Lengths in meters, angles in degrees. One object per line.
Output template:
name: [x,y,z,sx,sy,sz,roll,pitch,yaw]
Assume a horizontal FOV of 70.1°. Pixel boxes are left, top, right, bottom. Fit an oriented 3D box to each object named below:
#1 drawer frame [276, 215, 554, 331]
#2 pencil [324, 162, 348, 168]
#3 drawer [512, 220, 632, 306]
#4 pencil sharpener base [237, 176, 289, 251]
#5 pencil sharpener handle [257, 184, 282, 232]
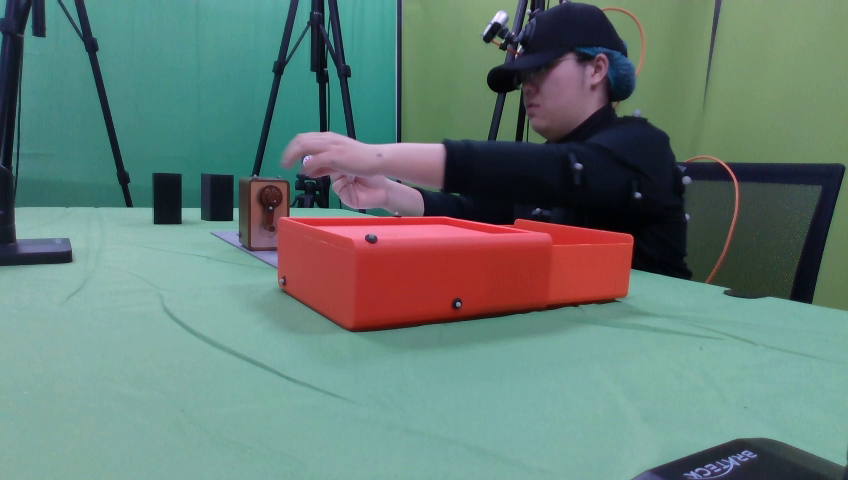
drawer frame: [-0.015,0.022,0.610,0.215,0.082,0.200,-3,9,-32]
pencil: [-0.158,-0.136,1.090,0.012,0.012,0.193,0,6,-20]
drawer: [0.085,0.022,0.674,0.213,0.073,0.193,-2,9,-32]
pencil sharpener base: [-0.243,-0.040,0.912,0.061,0.107,0.076,-1,8,-29]
pencil sharpener handle: [-0.219,-0.046,0.865,0.036,0.067,0.030,5,6,-29]
